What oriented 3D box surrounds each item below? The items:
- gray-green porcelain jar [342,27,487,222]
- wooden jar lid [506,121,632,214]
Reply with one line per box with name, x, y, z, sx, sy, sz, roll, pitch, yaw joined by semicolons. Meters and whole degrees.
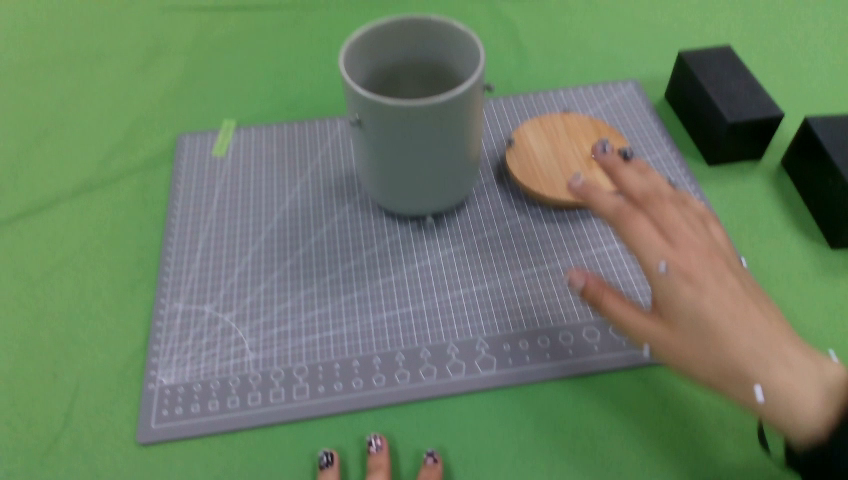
gray-green porcelain jar;-0.005;-0.085;0.483;0.106;0.127;0.105;-1;51;1
wooden jar lid;0.125;-0.062;0.530;0.108;0.021;0.107;-1;50;2
